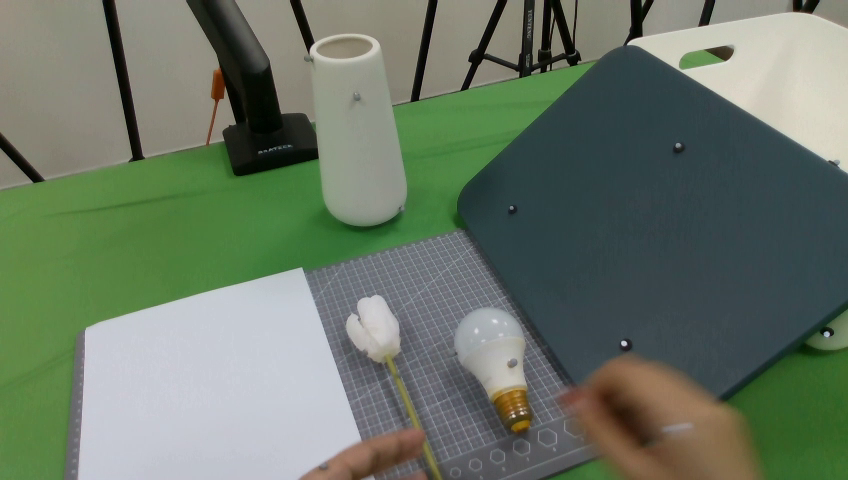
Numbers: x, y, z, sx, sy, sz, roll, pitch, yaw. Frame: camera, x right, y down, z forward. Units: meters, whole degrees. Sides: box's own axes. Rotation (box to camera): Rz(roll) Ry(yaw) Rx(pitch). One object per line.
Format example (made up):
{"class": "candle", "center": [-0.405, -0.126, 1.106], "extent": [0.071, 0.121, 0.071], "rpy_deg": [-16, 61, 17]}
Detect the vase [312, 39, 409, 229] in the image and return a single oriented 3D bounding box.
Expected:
{"class": "vase", "center": [-0.071, -0.110, 0.660], "extent": [0.098, 0.202, 0.097], "rpy_deg": [-3, 39, 3]}

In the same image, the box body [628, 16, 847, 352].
{"class": "box body", "center": [0.396, -0.080, 0.621], "extent": [0.254, 0.162, 0.359], "rpy_deg": [-14, 40, -12]}

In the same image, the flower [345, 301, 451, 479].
{"class": "flower", "center": [0.016, 0.178, 0.446], "extent": [0.044, 0.038, 0.357], "rpy_deg": [-38, 48, 5]}

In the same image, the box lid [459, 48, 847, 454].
{"class": "box lid", "center": [0.189, -0.020, 0.555], "extent": [0.263, 0.015, 0.367], "rpy_deg": [-43, 41, 12]}

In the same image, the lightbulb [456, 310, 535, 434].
{"class": "lightbulb", "center": [0.064, 0.107, 0.500], "extent": [0.059, 0.060, 0.106], "rpy_deg": [-12, 55, -10]}
